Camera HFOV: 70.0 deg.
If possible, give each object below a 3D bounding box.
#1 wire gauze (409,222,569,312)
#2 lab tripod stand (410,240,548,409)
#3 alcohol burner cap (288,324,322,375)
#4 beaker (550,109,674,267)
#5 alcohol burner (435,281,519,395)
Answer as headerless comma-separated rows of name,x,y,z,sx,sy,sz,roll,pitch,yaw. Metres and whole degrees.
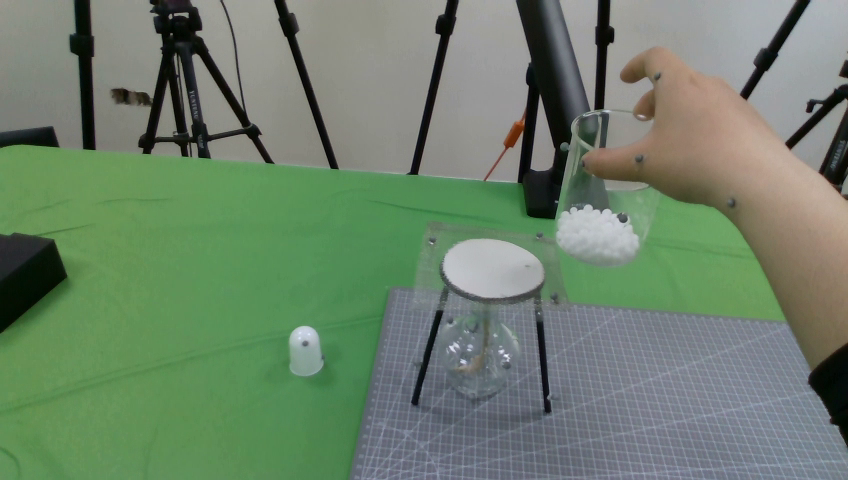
wire gauze,0.054,0.022,0.506,0.121,0.011,0.124,5,33,3
lab tripod stand,0.052,0.075,0.547,0.148,0.132,0.147,1,33,-1
alcohol burner cap,-0.115,0.102,0.579,0.034,0.048,0.033,3,35,-2
beaker,0.136,-0.035,0.456,0.074,0.101,0.083,9,38,8
alcohol burner,0.050,0.084,0.552,0.078,0.120,0.077,4,35,-2
